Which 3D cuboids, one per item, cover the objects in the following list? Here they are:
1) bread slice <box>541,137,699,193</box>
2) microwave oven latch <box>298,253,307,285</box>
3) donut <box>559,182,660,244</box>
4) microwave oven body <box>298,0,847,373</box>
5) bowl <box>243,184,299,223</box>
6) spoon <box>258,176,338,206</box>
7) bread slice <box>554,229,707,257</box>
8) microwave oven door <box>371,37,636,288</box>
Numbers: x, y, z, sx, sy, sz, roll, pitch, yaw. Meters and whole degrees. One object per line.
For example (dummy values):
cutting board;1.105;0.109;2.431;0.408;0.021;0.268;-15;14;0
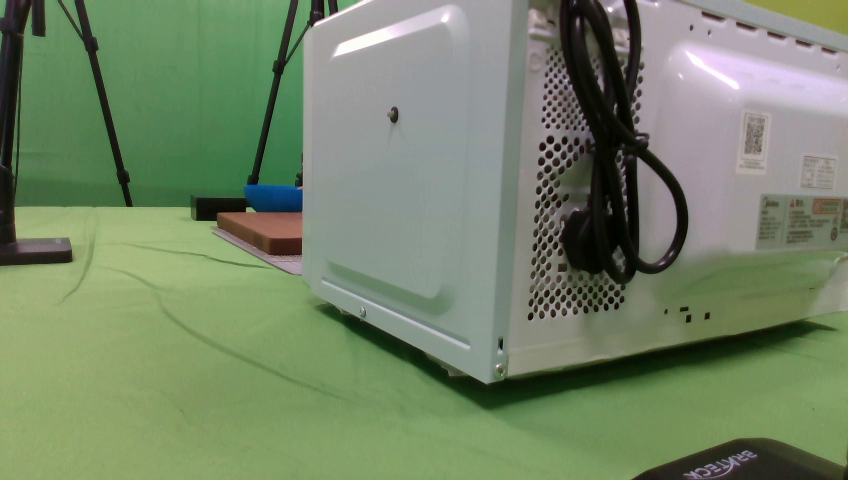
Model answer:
bread slice;0.198;-0.074;0.595;0.107;0.018;0.133;-1;22;-42
microwave oven latch;-0.081;0.027;0.582;0.079;0.029;0.030;-1;7;-32
donut;0.185;-0.028;0.607;0.099;0.048;0.099;11;-10;2
microwave oven body;0.151;-0.055;0.542;0.444;0.260;0.324;-2;7;-33
bowl;-0.321;-0.081;1.333;0.151;0.077;0.151;3;8;0
spoon;-0.279;-0.112;1.356;0.194;0.021;0.041;-28;18;-27
bread slice;0.204;0.002;0.583;0.105;0.019;0.131;5;-1;-18
microwave oven door;0.109;-0.080;0.686;0.358;0.243;0.039;-2;9;-33
